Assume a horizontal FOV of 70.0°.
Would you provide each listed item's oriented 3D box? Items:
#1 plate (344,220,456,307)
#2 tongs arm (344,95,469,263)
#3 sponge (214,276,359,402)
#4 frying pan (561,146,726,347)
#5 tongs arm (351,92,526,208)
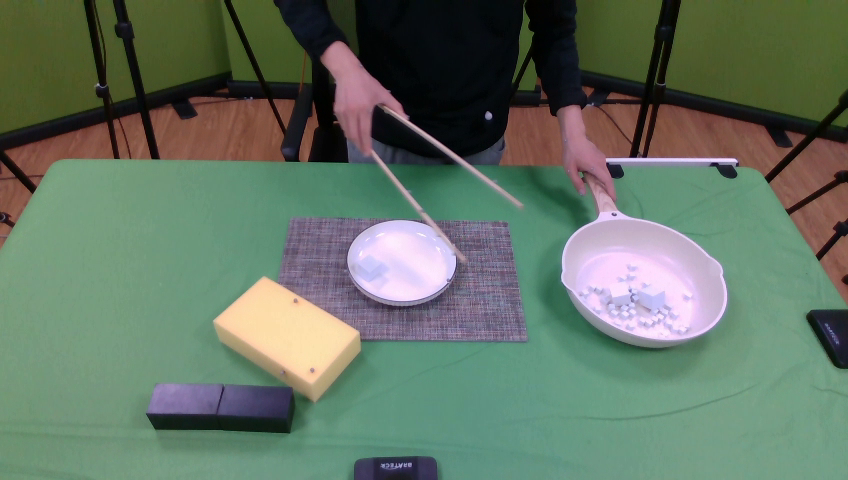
[{"bbox_3d":[-0.044,0.047,1.133,0.208,0.039,0.206,3,46,-2],"label":"plate"},{"bbox_3d":[-0.031,-0.114,1.080,0.051,0.026,0.383,-41,73,-2],"label":"tongs arm"},{"bbox_3d":[-0.224,0.158,0.998,0.206,0.061,0.118,27,52,18],"label":"sponge"},{"bbox_3d":[0.378,-0.005,1.175,0.307,0.103,0.484,-4,55,-9],"label":"frying pan"},{"bbox_3d":[0.022,-0.166,1.085,0.386,0.028,0.028,37,88,16],"label":"tongs arm"}]
